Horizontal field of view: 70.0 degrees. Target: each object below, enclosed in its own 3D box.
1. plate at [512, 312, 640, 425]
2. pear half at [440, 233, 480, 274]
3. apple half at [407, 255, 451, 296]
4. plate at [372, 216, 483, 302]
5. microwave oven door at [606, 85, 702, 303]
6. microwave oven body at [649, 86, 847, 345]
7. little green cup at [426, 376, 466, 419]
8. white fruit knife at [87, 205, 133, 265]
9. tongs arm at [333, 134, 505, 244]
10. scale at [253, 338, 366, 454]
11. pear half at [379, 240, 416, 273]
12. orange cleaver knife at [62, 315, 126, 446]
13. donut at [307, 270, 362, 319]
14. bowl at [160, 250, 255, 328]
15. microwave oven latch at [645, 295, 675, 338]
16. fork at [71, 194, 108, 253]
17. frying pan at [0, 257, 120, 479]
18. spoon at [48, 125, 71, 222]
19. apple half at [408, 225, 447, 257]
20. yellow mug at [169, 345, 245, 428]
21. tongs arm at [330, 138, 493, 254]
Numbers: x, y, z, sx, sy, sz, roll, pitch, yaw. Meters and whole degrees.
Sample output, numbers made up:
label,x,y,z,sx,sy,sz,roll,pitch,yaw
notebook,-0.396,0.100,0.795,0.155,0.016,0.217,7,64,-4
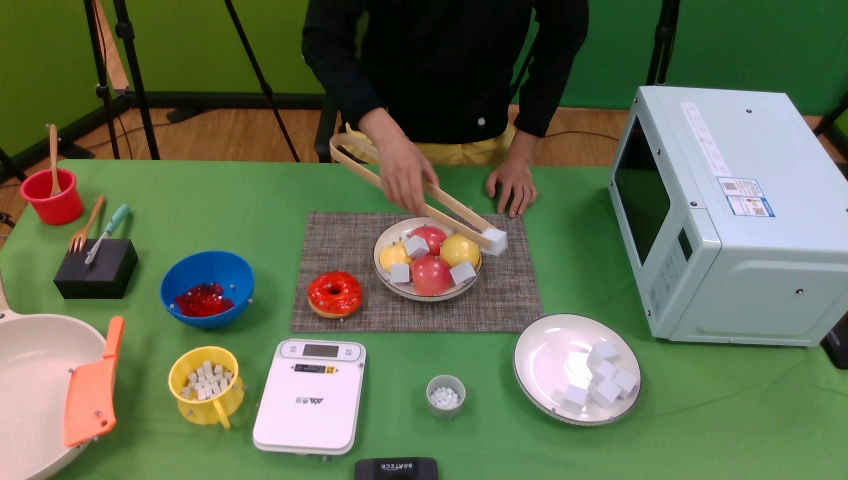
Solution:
label,x,y,z,sx,sy,sz,roll,pitch,yaw
plate,0.246,0.213,0.999,0.208,0.039,0.206,2,46,-2
pear half,0.065,0.006,1.150,0.076,0.056,0.109,-10,43,-2
apple half,0.011,0.058,1.103,0.075,0.053,0.080,-6,43,-13
plate,0.006,0.038,1.145,0.209,0.038,0.208,2,46,-2
microwave oven door,0.422,-0.094,1.140,0.039,0.245,0.353,2,46,-1
microwave oven body,0.567,-0.053,1.118,0.326,0.261,0.439,2,45,-1
little green cup,0.033,0.248,0.950,0.061,0.039,0.061,2,46,-2
white fruit knife,-0.584,-0.013,1.129,0.016,0.027,0.206,-1,32,-4
tongs arm,-0.020,-0.094,1.074,0.383,0.026,0.051,37,55,27
scale,-0.175,0.236,0.951,0.149,0.032,0.199,4,45,-1
pear half,-0.048,0.024,1.147,0.070,0.031,0.087,12,47,-11
orange cleaver knife,-0.480,0.199,0.887,0.077,0.012,0.210,-9,47,-8
donut,-0.158,0.096,1.073,0.099,0.048,0.098,4,45,-4
bowl,-0.362,0.098,1.040,0.151,0.077,0.150,2,45,-2
microwave oven latch,0.411,0.134,1.061,0.030,0.029,0.078,3,45,0
fork,-0.634,-0.036,1.158,0.028,0.019,0.206,-8,31,-8
frying pan,-0.647,0.164,0.937,0.307,0.103,0.485,-19,58,-22
spoon,-0.718,-0.131,1.188,0.041,0.021,0.193,-3,90,-7
apple half,0.010,-0.006,1.176,0.081,0.033,0.081,2,52,-3
yellow mug,-0.322,0.230,0.922,0.100,0.064,0.130,-24,53,-25
tongs arm,-0.036,-0.081,1.061,0.386,0.028,0.028,33,57,24
